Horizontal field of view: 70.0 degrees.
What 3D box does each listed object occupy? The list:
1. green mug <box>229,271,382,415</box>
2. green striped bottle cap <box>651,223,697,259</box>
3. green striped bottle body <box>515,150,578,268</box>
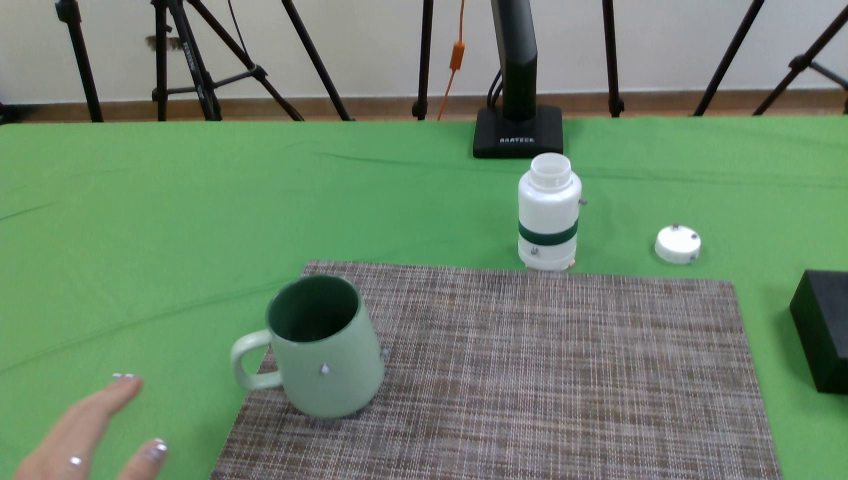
[{"bbox_3d":[-0.103,0.095,0.523,0.125,0.106,0.091,-16,43,-9],"label":"green mug"},{"bbox_3d":[0.267,0.001,0.646,0.044,0.020,0.044,-2,39,2],"label":"green striped bottle cap"},{"bbox_3d":[0.125,-0.034,0.627,0.063,0.120,0.062,-4,42,4],"label":"green striped bottle body"}]
